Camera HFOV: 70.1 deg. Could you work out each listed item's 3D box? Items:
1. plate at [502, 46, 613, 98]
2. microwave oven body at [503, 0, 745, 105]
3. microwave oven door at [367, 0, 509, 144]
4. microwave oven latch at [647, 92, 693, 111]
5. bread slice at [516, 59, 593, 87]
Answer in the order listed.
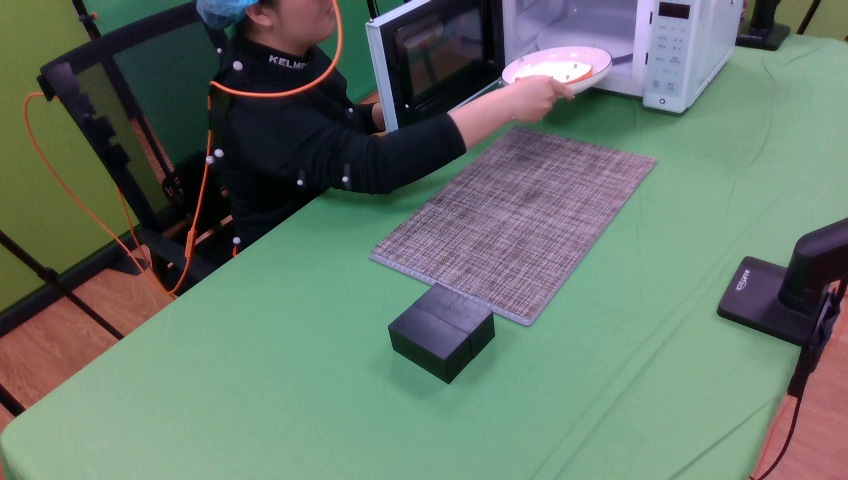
[{"bbox_3d":[0.258,-0.320,1.167,0.209,0.038,0.208,-10,33,7],"label":"plate"},{"bbox_3d":[0.416,-0.486,1.290,0.438,0.261,0.327,21,50,33],"label":"microwave oven body"},{"bbox_3d":[0.044,-0.383,1.234,0.039,0.245,0.357,28,53,36],"label":"microwave oven door"},{"bbox_3d":[0.477,-0.273,1.177,0.078,0.029,0.030,23,51,34],"label":"microwave oven latch"},{"bbox_3d":[0.260,-0.321,1.170,0.105,0.019,0.130,-35,38,-27],"label":"bread slice"}]
